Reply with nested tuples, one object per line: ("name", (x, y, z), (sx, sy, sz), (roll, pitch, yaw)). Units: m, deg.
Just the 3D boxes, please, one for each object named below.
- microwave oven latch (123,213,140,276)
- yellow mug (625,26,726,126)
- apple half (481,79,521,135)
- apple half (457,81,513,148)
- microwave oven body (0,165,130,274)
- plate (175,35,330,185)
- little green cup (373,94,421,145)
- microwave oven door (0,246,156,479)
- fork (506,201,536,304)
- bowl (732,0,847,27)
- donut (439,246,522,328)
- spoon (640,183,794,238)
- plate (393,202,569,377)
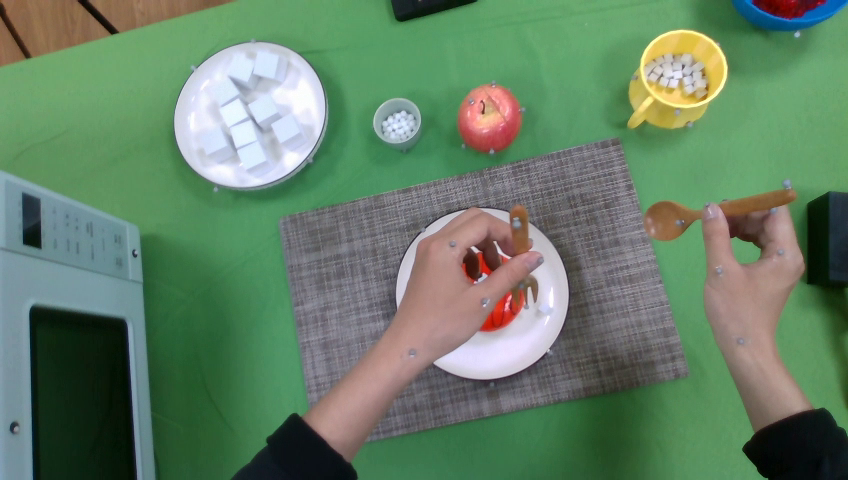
("microwave oven latch", (-0.383, 0.007, 0.773), (0.030, 0.029, 0.079), (-9, 79, 4))
("yellow mug", (0.295, -0.188, 0.739), (0.131, 0.064, 0.099), (-44, 78, -2))
("apple half", (0.101, -0.169, 0.752), (0.033, 0.081, 0.081), (-33, 77, 3))
("apple half", (0.069, -0.147, 0.753), (0.053, 0.075, 0.080), (-33, 81, 4))
("microwave oven body", (-0.513, 0.184, 0.656), (0.326, 0.261, 0.439), (-10, 79, 4))
("plate", (-0.225, -0.170, 0.808), (0.207, 0.039, 0.206), (-1, 79, 6))
("little green cup", (-0.033, -0.153, 0.783), (0.061, 0.039, 0.061), (-1, 79, 7))
("microwave oven door", (-0.364, 0.199, 0.631), (0.039, 0.245, 0.354), (-10, 78, 5))
("fork", (0.081, 0.018, 0.511), (0.028, 0.209, 0.018), (-7, 68, 8))
("bowl", (0.438, -0.319, 0.741), (0.151, 0.077, 0.150), (-1, 79, 7))
("donut", (0.068, 0.056, 0.717), (0.099, 0.048, 0.098), (-1, 81, 8))
("spoon", (0.250, -0.027, 0.539), (0.022, 0.193, 0.041), (-10, 88, -9))
("plate", (0.067, 0.058, 0.728), (0.209, 0.038, 0.208), (-1, 79, 7))
